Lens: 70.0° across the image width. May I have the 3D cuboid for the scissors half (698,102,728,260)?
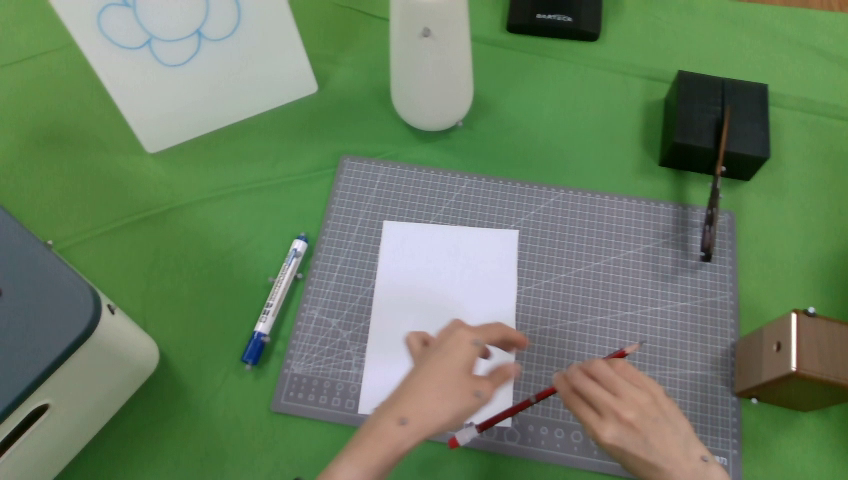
[{"bbox_3d":[0.313,-0.064,0.648,0.012,0.040,0.175,8,85,30],"label":"scissors half"}]

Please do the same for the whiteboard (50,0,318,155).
[{"bbox_3d":[-0.278,-0.288,0.667,0.217,0.308,0.142,-23,48,-8],"label":"whiteboard"}]

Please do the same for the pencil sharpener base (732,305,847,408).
[{"bbox_3d":[0.343,0.110,0.553,0.076,0.108,0.061,13,66,4],"label":"pencil sharpener base"}]

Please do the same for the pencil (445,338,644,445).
[{"bbox_3d":[0.104,0.131,0.528,0.194,0.012,0.012,-30,67,7],"label":"pencil"}]

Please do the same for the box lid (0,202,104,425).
[{"bbox_3d":[-0.468,0.044,0.485,0.369,0.015,0.262,35,70,15],"label":"box lid"}]

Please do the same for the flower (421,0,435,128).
[{"bbox_3d":[0.000,-0.257,0.582,0.044,0.365,0.038,2,48,6],"label":"flower"}]

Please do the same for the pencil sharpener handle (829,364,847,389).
[{"bbox_3d":[0.393,0.118,0.538,0.030,0.068,0.035,13,61,4],"label":"pencil sharpener handle"}]

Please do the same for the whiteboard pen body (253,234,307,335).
[{"bbox_3d":[-0.155,0.055,0.635,0.017,0.017,0.140,15,65,8],"label":"whiteboard pen body"}]

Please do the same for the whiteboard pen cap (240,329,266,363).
[{"bbox_3d":[-0.171,0.106,0.610,0.018,0.018,0.033,15,62,8],"label":"whiteboard pen cap"}]

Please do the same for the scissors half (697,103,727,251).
[{"bbox_3d":[0.304,-0.070,0.631,0.013,0.040,0.174,9,68,25],"label":"scissors half"}]

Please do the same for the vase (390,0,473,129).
[{"bbox_3d":[0.006,-0.209,0.652,0.098,0.201,0.097,-1,64,2],"label":"vase"}]

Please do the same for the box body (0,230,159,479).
[{"bbox_3d":[-0.465,0.076,0.552,0.362,0.161,0.253,35,71,15],"label":"box body"}]
